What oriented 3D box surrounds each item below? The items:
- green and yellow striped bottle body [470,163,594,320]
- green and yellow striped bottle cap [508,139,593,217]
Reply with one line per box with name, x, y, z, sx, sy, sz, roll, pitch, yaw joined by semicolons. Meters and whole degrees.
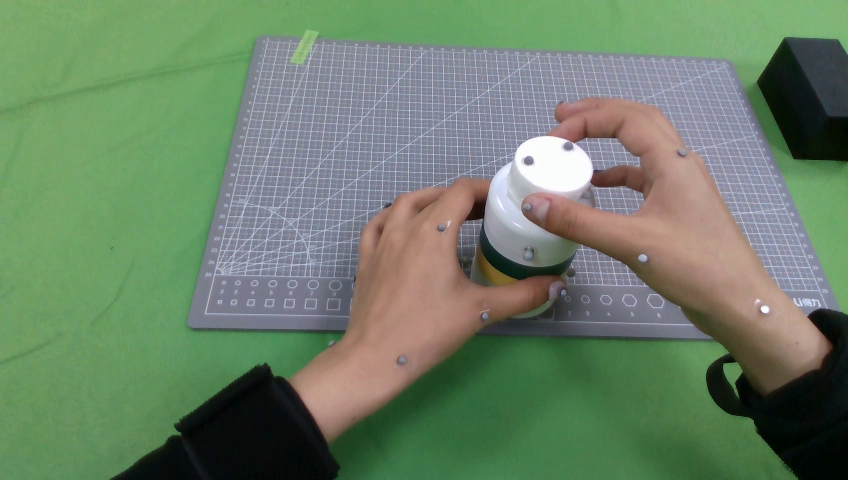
green and yellow striped bottle body;0.066;-0.004;0.378;0.063;0.120;0.062;2;55;-2
green and yellow striped bottle cap;0.070;-0.035;0.333;0.045;0.020;0.045;3;51;-3
